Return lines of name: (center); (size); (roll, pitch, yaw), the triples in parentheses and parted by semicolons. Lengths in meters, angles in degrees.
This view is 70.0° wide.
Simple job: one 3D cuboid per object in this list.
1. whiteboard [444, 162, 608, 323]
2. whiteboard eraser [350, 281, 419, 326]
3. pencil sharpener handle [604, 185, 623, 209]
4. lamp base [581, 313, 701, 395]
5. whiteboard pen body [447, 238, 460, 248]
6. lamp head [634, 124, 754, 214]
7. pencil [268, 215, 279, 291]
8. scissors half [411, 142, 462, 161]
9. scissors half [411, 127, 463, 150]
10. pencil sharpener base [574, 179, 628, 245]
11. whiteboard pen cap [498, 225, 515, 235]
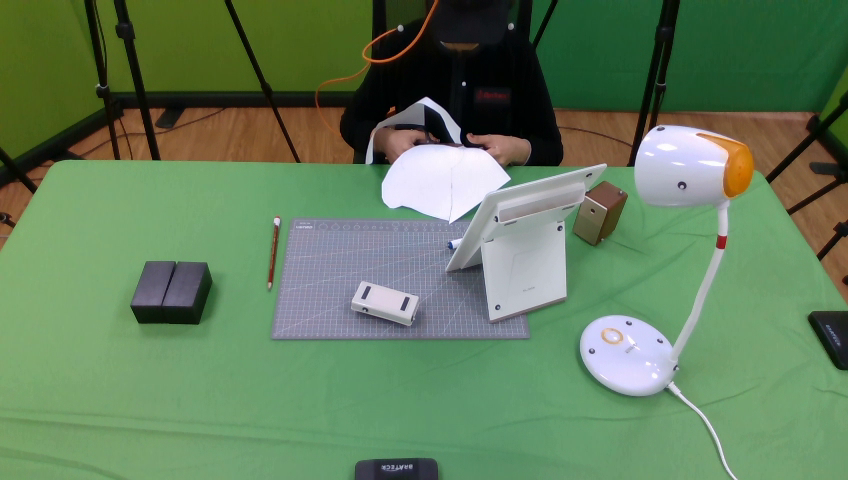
whiteboard: (0.186, 0.025, 1.029); (0.217, 0.306, 0.143); (-14, 68, -18)
whiteboard eraser: (-0.069, 0.113, 1.065); (0.112, 0.042, 0.055); (14, 46, 9)
pencil sharpener handle: (0.390, -0.091, 1.235); (0.030, 0.068, 0.036); (-34, 69, -31)
lamp base: (0.361, 0.144, 0.972); (0.178, 0.181, 0.160); (34, 53, 23)
whiteboard pen body: (0.112, -0.006, 1.204); (0.141, 0.017, 0.017); (-14, 49, -18)
lamp head: (0.351, -0.089, 0.775); (0.112, 0.113, 0.122); (-30, 30, -28)
pencil: (-0.291, 0.022, 1.164); (0.012, 0.012, 0.192); (-2, 48, -6)
scissors half: (0.027, -0.203, 1.367); (0.013, 0.040, 0.174); (-4, 2, -39)
scissors half: (0.028, -0.223, 1.364); (0.013, 0.040, 0.174); (-10, 25, -38)
pencil sharpener base: (0.355, -0.057, 1.217); (0.076, 0.107, 0.061); (-33, 56, -31)
whiteboard pen cap: (0.166, -0.019, 1.222); (0.033, 0.018, 0.018); (-14, 49, -19)
